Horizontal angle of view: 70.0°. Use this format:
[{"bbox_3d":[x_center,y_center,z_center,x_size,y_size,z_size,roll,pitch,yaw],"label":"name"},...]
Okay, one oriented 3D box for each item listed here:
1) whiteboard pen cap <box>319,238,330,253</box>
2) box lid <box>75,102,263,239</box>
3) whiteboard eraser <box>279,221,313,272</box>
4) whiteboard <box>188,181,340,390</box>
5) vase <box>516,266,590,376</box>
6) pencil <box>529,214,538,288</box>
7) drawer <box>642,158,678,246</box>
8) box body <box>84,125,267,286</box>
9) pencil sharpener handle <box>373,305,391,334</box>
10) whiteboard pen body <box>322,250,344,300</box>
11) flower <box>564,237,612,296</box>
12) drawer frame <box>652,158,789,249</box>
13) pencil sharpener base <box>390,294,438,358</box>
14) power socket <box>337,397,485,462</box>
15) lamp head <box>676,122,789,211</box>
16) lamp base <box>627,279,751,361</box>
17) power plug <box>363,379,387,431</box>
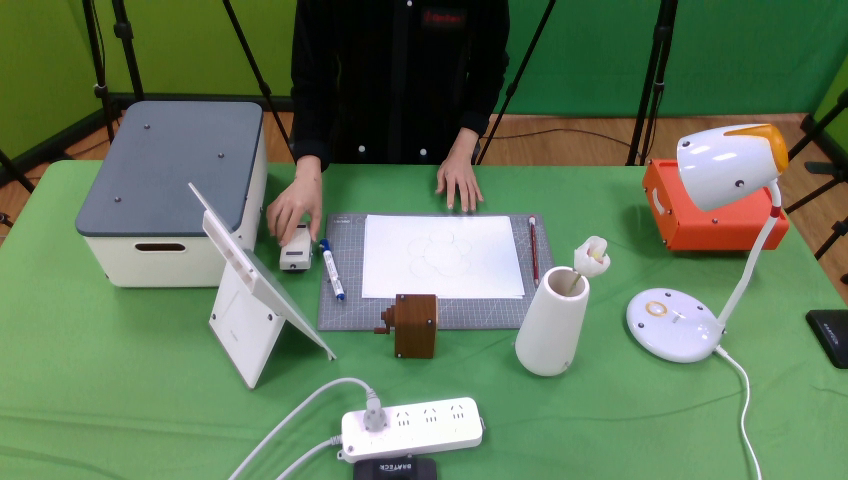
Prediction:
[{"bbox_3d":[-0.190,0.013,1.163,0.018,0.018,0.033,-12,49,-15],"label":"whiteboard pen cap"},{"bbox_3d":[-0.443,-0.138,1.094,0.263,0.015,0.369,-1,47,-5],"label":"box lid"},{"bbox_3d":[-0.243,0.012,1.155,0.055,0.042,0.112,-3,45,-2],"label":"whiteboard eraser"},{"bbox_3d":[-0.292,0.096,0.929,0.144,0.307,0.216,-38,57,-10],"label":"whiteboard"},{"bbox_3d":[0.208,0.132,0.964,0.098,0.201,0.097,3,46,-3],"label":"vase"},{"bbox_3d":[0.219,0.019,1.202,0.012,0.012,0.193,5,48,1],"label":"pencil"},{"bbox_3d":[0.566,-0.075,1.211,0.212,0.073,0.193,2,45,-2],"label":"drawer"},{"bbox_3d":[-0.446,-0.088,1.150,0.254,0.161,0.361,-1,46,-5],"label":"box body"},{"bbox_3d":[-0.069,0.133,0.989,0.030,0.068,0.036,1,47,-2],"label":"pencil sharpener handle"},{"bbox_3d":[-0.173,0.056,1.127,0.017,0.017,0.140,-12,49,-16],"label":"whiteboard pen body"},{"bbox_3d":[0.206,0.088,0.893,0.038,0.363,0.044,-17,67,-9],"label":"flower"},{"bbox_3d":[0.571,-0.075,1.214,0.214,0.083,0.200,0,46,-1],"label":"drawer frame"},{"bbox_3d":[-0.018,0.143,1.000,0.077,0.107,0.061,1,46,-2],"label":"pencil sharpener base"},{"bbox_3d":[-0.018,0.285,0.915,0.227,0.033,0.071,-5,46,-8],"label":"power socket"},{"bbox_3d":[0.423,-0.104,0.819,0.122,0.113,0.112,-13,33,40],"label":"lamp head"},{"bbox_3d":[0.459,0.100,1.027,0.178,0.181,0.160,27,51,17],"label":"lamp base"},{"bbox_3d":[-0.072,0.252,0.910,0.035,0.053,0.072,3,45,-1],"label":"power plug"}]
